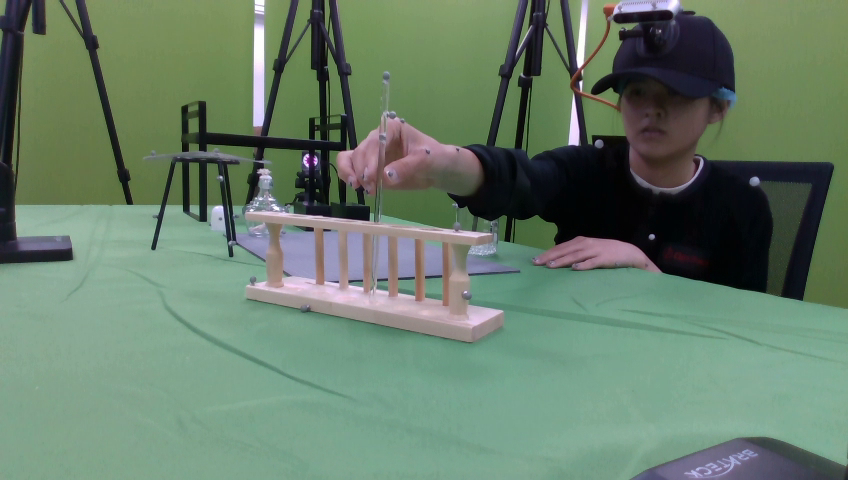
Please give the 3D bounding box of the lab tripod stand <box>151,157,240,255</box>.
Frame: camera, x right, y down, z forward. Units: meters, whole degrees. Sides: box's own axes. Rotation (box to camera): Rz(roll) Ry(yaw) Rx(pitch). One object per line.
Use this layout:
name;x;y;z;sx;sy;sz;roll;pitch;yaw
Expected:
lab tripod stand;-0.310;-0.052;0.866;0.148;0.131;0.148;2;6;0

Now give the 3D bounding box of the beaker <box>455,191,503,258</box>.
beaker;0.087;-0.025;0.955;0.074;0.100;0.083;-1;8;-26

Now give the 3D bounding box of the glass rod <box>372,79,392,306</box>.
glass rod;-0.036;-0.039;0.526;0.008;0.199;0.008;4;5;0

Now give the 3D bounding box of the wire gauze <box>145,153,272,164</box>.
wire gauze;-0.303;-0.117;0.854;0.121;0.011;0.126;7;8;34

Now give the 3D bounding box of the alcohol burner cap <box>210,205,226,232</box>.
alcohol burner cap;-0.376;-0.040;1.107;0.034;0.048;0.034;2;7;0

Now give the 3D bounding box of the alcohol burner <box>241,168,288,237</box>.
alcohol burner;-0.272;-0.064;1.036;0.078;0.119;0.078;4;5;0

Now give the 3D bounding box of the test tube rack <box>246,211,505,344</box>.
test tube rack;-0.049;0.025;0.547;0.241;0.085;0.067;7;8;29
